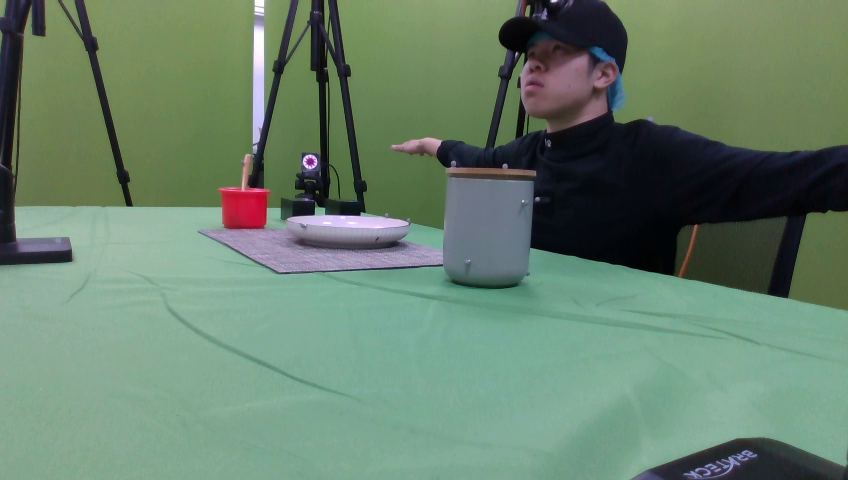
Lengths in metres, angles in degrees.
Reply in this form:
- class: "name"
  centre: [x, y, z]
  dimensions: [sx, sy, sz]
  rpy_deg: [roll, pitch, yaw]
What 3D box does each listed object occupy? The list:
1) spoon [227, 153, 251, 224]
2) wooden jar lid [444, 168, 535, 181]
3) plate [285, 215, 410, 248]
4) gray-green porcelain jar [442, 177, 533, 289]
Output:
- class: "spoon"
  centre: [-0.363, -0.107, 1.211]
  dimensions: [0.042, 0.021, 0.193]
  rpy_deg: [-1, 47, -7]
- class: "wooden jar lid"
  centre: [0.077, -0.074, 0.718]
  dimensions: [0.108, 0.020, 0.108]
  rpy_deg: [1, 5, 0]
- class: "plate"
  centre: [-0.127, -0.015, 1.012]
  dimensions: [0.208, 0.039, 0.207]
  rpy_deg: [3, 7, 0]
- class: "gray-green porcelain jar"
  centre: [0.075, -0.010, 0.727]
  dimensions: [0.106, 0.126, 0.106]
  rpy_deg: [2, 7, 0]
